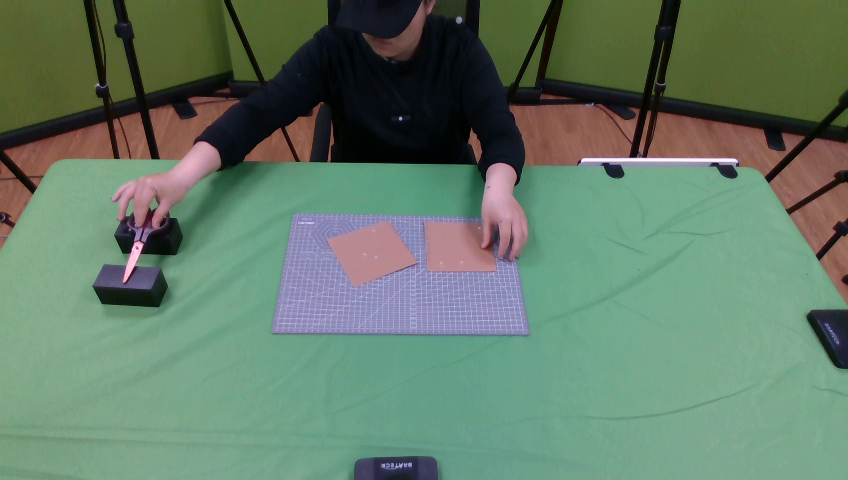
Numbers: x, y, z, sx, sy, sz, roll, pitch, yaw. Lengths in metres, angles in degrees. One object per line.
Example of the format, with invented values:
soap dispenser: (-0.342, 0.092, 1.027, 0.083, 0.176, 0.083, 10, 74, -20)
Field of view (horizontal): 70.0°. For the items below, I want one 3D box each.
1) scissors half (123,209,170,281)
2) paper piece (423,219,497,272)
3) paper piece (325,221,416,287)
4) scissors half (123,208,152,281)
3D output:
scissors half: (-0.498, 0.006, 1.085, 0.040, 0.013, 0.174, 5, 47, 6)
paper piece: (0.068, 0.011, 1.199, 0.138, 0.009, 0.135, 2, 50, -5)
paper piece: (-0.105, 0.022, 1.174, 0.135, 0.004, 0.135, -19, 50, -21)
scissors half: (-0.518, 0.006, 1.084, 0.040, 0.013, 0.174, -3, 47, -9)
